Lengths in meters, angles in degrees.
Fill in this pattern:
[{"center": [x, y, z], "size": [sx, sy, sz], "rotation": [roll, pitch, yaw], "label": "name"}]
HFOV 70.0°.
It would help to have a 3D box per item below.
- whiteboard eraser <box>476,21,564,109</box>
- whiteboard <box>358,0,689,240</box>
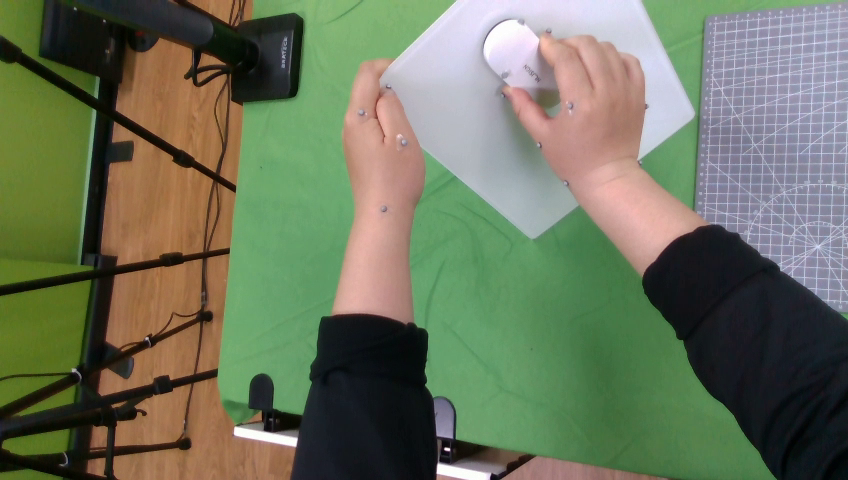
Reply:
[{"center": [0.080, -0.143, 0.501], "size": [0.041, 0.102, 0.018], "rotation": [-42, 50, 20], "label": "whiteboard eraser"}, {"center": [0.091, -0.169, 0.597], "size": [0.217, 0.309, 0.142], "rotation": [-39, 50, 17], "label": "whiteboard"}]
